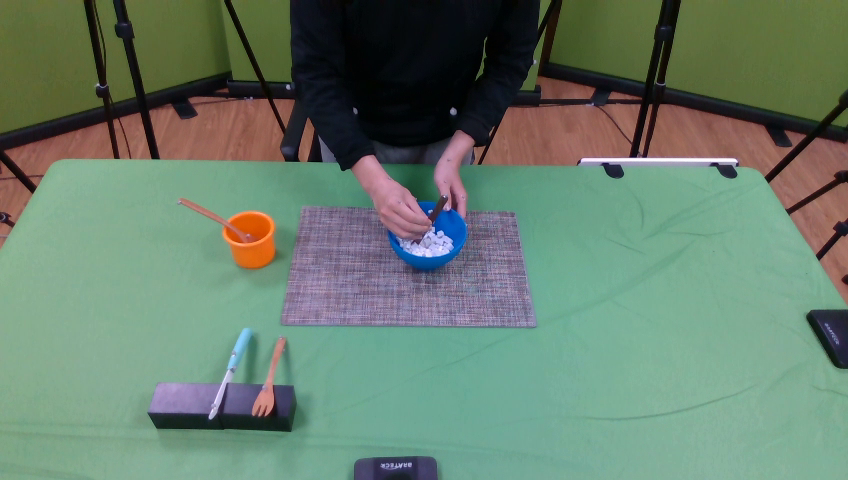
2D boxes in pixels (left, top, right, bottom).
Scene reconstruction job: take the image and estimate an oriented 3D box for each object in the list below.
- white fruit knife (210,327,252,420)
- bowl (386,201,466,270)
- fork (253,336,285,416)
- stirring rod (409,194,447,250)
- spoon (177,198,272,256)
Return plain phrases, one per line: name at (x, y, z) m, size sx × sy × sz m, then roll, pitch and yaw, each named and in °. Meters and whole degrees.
white fruit knife at (-0.298, 0.200, 0.937) m, size 0.016 × 0.027 × 0.206 m, roll 0°, pitch 30°, yaw 0°
bowl at (0.002, 0.004, 1.150) m, size 0.151 × 0.077 × 0.150 m, roll 2°, pitch 46°, yaw -2°
fork at (-0.235, 0.206, 0.938) m, size 0.028 × 0.019 × 0.206 m, roll -3°, pitch 26°, yaw -3°
stirring rod at (0.005, -0.029, 1.091) m, size 0.014 × 0.176 × 0.006 m, roll 20°, pitch 53°, yaw -10°
spoon at (-0.361, -0.025, 1.106) m, size 0.195 × 0.021 × 0.041 m, roll 39°, pitch 35°, yaw -32°
